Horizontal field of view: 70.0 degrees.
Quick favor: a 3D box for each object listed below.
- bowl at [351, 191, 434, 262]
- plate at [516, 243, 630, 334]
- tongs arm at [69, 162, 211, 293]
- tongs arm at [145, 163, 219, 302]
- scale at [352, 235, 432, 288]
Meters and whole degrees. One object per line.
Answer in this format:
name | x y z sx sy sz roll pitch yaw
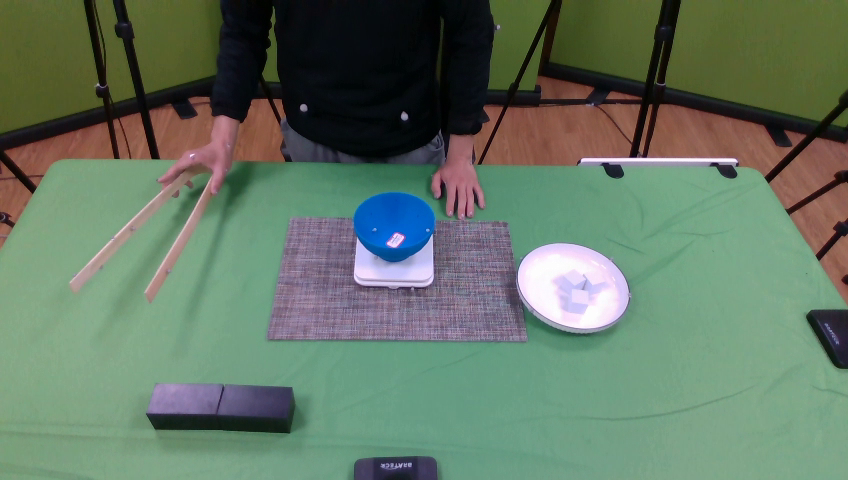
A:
bowl | -0.057 -0.013 1.119 0.151 0.077 0.150 1 46 -1
plate | 0.271 0.092 1.120 0.208 0.039 0.206 2 46 -2
tongs arm | -0.508 -0.037 1.120 0.051 0.026 0.383 7 39 10
tongs arm | -0.436 -0.029 1.113 0.028 0.028 0.385 -3 39 4
scale | -0.060 0.010 1.171 0.149 0.032 0.199 2 46 -3
